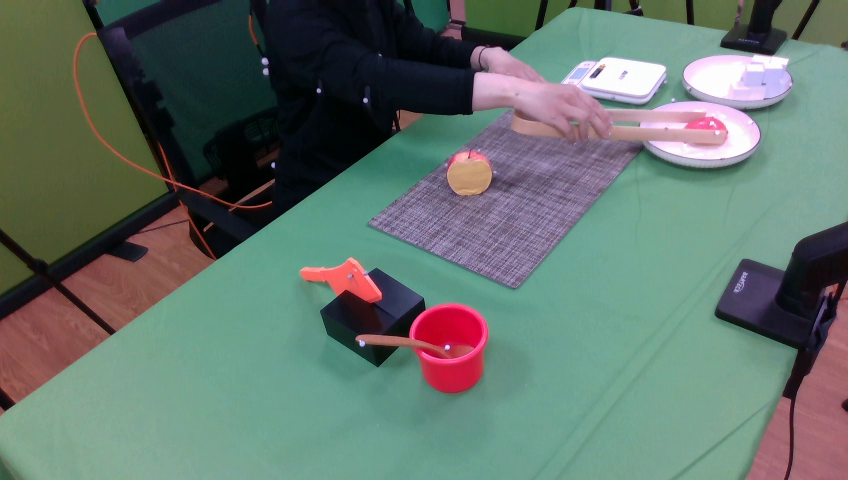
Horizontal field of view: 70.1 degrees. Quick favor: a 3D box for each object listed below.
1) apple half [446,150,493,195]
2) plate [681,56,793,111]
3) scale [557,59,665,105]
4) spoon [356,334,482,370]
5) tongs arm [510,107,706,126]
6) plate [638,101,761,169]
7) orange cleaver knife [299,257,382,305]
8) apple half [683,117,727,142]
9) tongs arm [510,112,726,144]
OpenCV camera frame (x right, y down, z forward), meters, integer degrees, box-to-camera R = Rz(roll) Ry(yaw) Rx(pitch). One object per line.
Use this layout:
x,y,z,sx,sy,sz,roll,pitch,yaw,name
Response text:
0.080,-0.123,1.065,0.081,0.075,0.053,-7,36,7,apple half
0.636,-0.317,1.239,0.207,0.039,0.206,-4,40,4,plate
0.407,-0.348,1.314,0.199,0.032,0.149,19,47,28,scale
-0.001,0.130,0.731,0.195,0.021,0.041,22,28,-39,spoon
0.340,-0.223,1.106,0.389,0.028,0.028,-1,40,-11,tongs arm
0.500,-0.189,1.111,0.209,0.038,0.208,-4,41,4,plate
-0.124,0.062,0.872,0.012,0.077,0.210,-38,17,-30,orange cleaver knife
0.517,-0.207,1.112,0.081,0.033,0.081,-1,36,1,apple half
0.345,-0.197,1.070,0.386,0.026,0.050,0,37,-10,tongs arm
